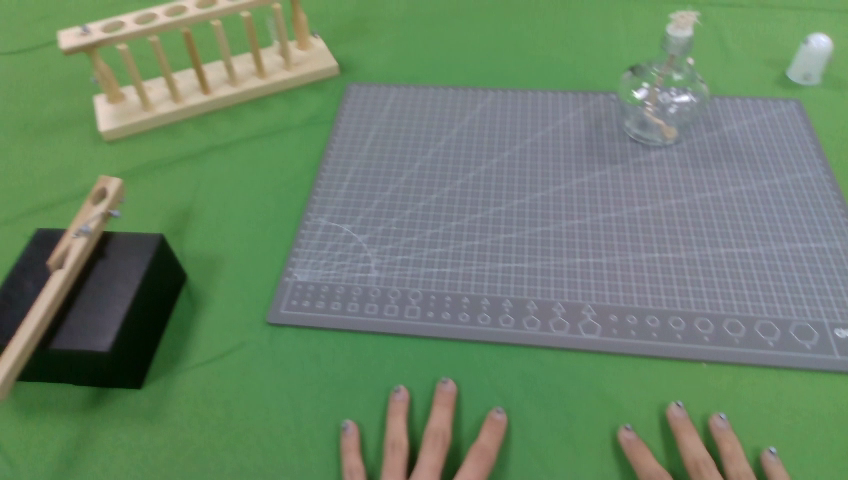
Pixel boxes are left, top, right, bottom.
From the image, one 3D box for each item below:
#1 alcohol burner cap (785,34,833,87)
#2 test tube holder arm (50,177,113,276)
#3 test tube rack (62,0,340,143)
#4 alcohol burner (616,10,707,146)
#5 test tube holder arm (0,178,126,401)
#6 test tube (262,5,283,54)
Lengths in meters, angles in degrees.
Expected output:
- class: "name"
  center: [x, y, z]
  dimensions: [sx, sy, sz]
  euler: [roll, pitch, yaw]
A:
- class: "alcohol burner cap"
  center: [0.385, -0.179, 0.600]
  dimensions: [0.034, 0.048, 0.033]
  euler: [-2, 49, 3]
- class: "test tube holder arm"
  center: [-0.247, -0.011, 0.442]
  dimensions: [0.010, 0.015, 0.087]
  euler: [7, 51, -1]
- class: "test tube rack"
  center: [-0.215, -0.185, 0.609]
  dimensions: [0.243, 0.086, 0.066]
  euler: [-20, 51, -14]
- class: "alcohol burner"
  center: [0.211, -0.142, 0.527]
  dimensions: [0.078, 0.120, 0.077]
  euler: [-1, 48, 1]
- class: "test tube holder arm"
  center: [-0.245, 0.025, 0.414]
  dimensions: [0.013, 0.015, 0.177]
  euler: [7, 51, -1]
- class: "test tube"
  center: [-0.160, -0.255, 0.601]
  dimensions: [0.017, 0.152, 0.017]
  euler: [-4, 46, 5]
